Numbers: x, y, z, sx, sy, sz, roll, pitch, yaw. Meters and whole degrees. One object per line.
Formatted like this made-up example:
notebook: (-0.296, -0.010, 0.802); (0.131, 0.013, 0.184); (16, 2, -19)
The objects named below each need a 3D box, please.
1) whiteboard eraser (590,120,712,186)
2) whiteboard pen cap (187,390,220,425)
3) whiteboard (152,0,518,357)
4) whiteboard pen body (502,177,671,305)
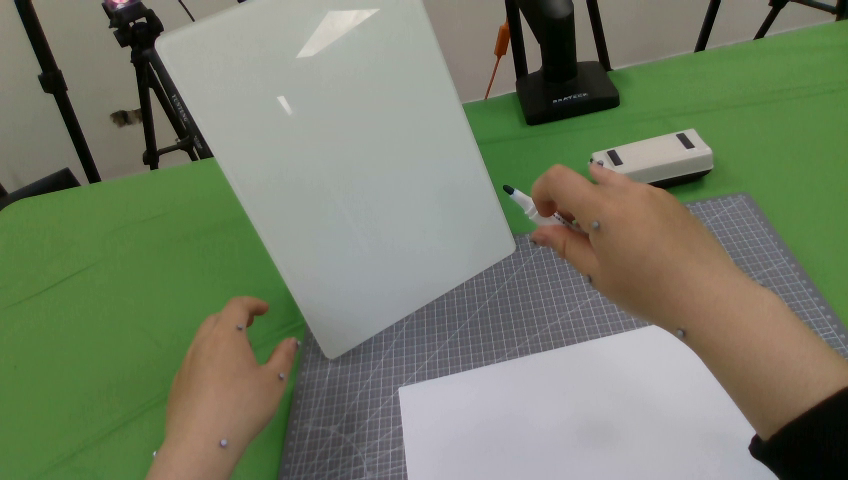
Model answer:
whiteboard eraser: (0.237, -0.089, 0.637); (0.112, 0.042, 0.055); (-12, 42, 4)
whiteboard pen cap: (-0.190, 0.145, 0.522); (0.018, 0.033, 0.018); (-8, 42, 7)
whiteboard: (-0.078, -0.089, 0.587); (0.217, 0.307, 0.142); (-29, 21, -14)
whiteboard pen body: (0.109, 0.000, 0.405); (0.141, 0.017, 0.017); (35, 50, -8)
